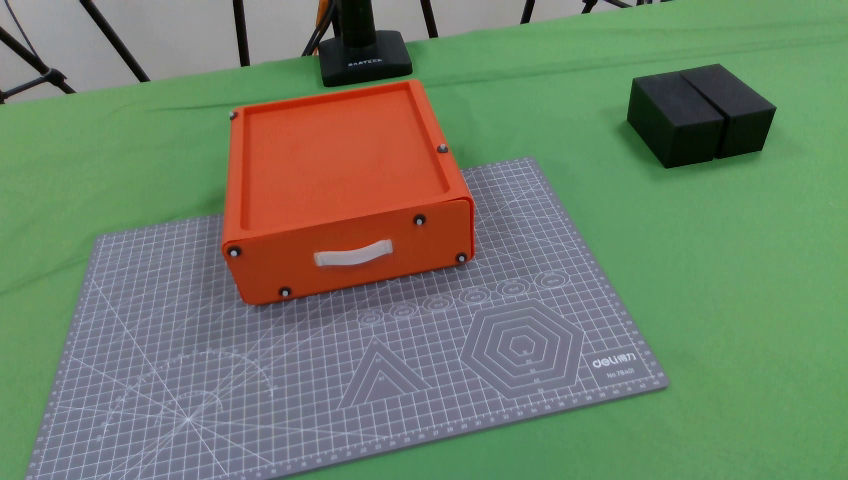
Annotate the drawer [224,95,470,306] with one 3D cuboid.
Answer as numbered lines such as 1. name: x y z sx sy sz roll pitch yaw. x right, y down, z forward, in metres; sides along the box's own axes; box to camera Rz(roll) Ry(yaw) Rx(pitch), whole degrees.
1. drawer: -0.076 -0.049 0.567 0.195 0.074 0.209 -12 41 -5

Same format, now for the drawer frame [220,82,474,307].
1. drawer frame: -0.077 -0.052 0.567 0.202 0.083 0.211 -12 41 -6

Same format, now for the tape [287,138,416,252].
1. tape: -0.068 -0.045 0.570 0.117 0.053 0.115 -3 42 3
